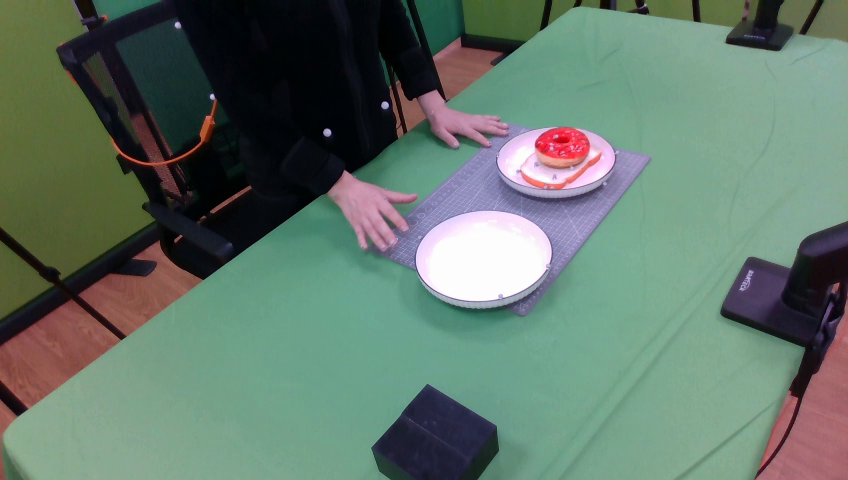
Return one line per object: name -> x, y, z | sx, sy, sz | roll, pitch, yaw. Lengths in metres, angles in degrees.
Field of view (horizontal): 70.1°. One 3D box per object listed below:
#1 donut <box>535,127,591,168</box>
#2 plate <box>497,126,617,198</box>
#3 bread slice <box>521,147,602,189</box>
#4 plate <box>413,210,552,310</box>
donut -> 0.247, -0.165, 1.073 | 0.099, 0.048, 0.098 | -5, 39, 5
plate -> 0.236, -0.136, 1.085 | 0.209, 0.038, 0.208 | -5, 40, 5
bread slice -> 0.242, -0.137, 1.085 | 0.106, 0.018, 0.134 | 23, 51, 34
plate -> 0.088, 0.033, 0.914 | 0.207, 0.039, 0.206 | -5, 40, 5
